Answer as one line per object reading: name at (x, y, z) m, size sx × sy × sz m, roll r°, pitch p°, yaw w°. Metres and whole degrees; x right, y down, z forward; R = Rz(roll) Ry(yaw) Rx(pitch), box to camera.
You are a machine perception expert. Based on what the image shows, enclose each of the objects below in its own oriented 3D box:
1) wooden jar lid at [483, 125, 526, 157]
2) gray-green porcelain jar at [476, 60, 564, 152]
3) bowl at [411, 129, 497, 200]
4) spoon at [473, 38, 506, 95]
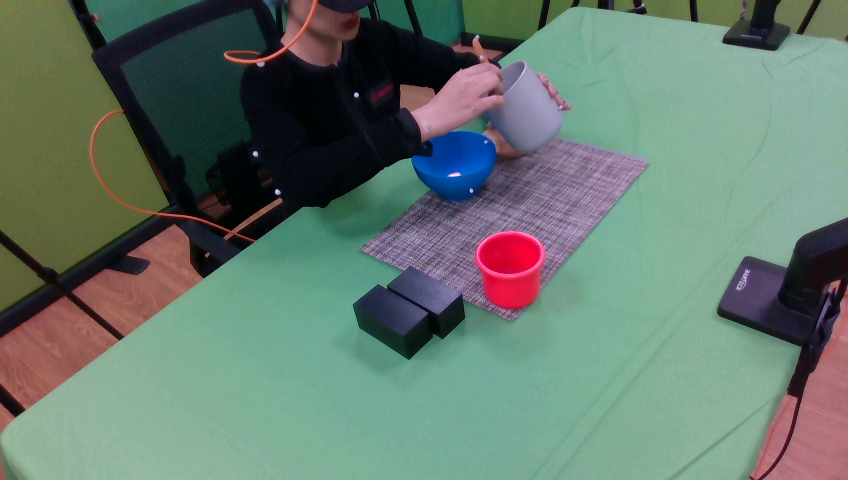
wooden jar lid at (0.165, -0.194, 1.177) m, size 0.108 × 0.021 × 0.108 m, roll -4°, pitch 40°, yaw 4°
gray-green porcelain jar at (0.167, -0.222, 1.025) m, size 0.105 × 0.127 × 0.105 m, roll -34°, pitch 29°, yaw 23°
bowl at (0.056, -0.124, 1.069) m, size 0.151 × 0.077 × 0.150 m, roll -5°, pitch 40°, yaw 5°
spoon at (0.127, -0.243, 0.977) m, size 0.041 × 0.195 × 0.021 m, roll -50°, pitch 30°, yaw -17°
